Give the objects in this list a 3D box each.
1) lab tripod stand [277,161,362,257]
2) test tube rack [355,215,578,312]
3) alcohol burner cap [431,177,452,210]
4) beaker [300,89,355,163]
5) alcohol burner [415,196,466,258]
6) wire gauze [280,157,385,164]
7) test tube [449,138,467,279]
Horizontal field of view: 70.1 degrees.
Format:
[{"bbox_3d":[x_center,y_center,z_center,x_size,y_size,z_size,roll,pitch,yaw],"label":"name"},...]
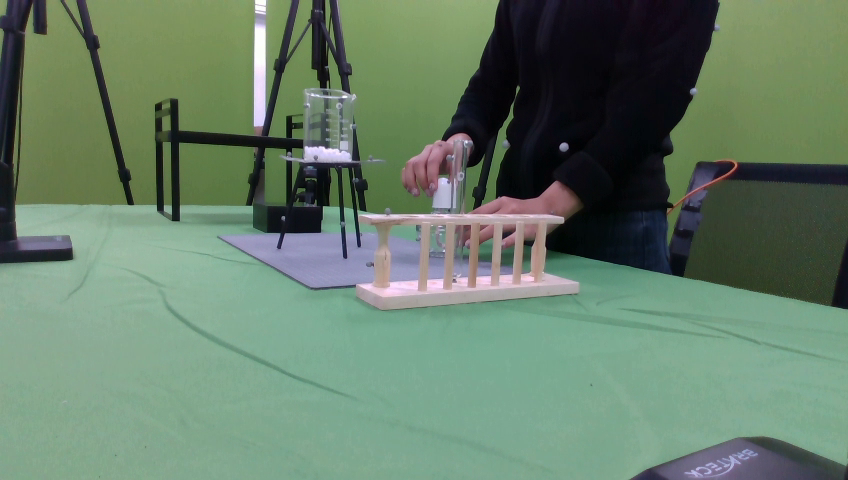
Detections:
[{"bbox_3d":[-0.143,-0.049,0.884,0.148,0.131,0.148,1,9,0],"label":"lab tripod stand"},{"bbox_3d":[0.053,0.018,0.641,0.243,0.085,0.066,-1,8,-29],"label":"test tube rack"},{"bbox_3d":[0.028,-0.070,0.900,0.034,0.048,0.034,6,9,-1],"label":"alcohol burner cap"},{"bbox_3d":[-0.136,-0.161,0.867,0.083,0.100,0.074,5,8,24],"label":"beaker"},{"bbox_3d":[0.025,-0.033,0.902,0.078,0.119,0.078,2,5,0],"label":"alcohol burner"},{"bbox_3d":[-0.134,-0.113,0.875,0.122,0.011,0.124,-1,6,-30],"label":"wire gauze"},{"bbox_3d":[0.035,-0.033,0.645,0.017,0.150,0.017,2,4,0],"label":"test tube"}]
